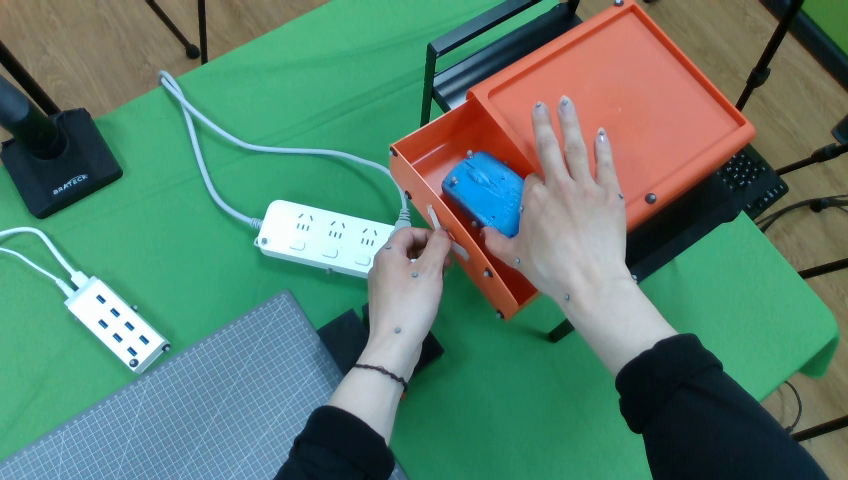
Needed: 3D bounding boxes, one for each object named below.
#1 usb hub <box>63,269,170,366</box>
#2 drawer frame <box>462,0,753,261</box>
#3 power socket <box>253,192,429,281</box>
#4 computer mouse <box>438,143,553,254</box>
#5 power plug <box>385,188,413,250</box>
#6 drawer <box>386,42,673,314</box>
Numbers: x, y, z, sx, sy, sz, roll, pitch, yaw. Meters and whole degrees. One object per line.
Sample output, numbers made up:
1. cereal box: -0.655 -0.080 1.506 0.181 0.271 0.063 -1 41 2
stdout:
1. usb hub: -0.369 0.092 0.728 0.124 0.025 0.049 39 74 9
2. drawer frame: 0.177 -0.119 0.618 0.213 0.083 0.200 -34 76 -15
3. power socket: -0.104 -0.004 0.775 0.227 0.033 0.072 13 71 1
4. computer mouse: 0.069 -0.044 0.591 0.063 0.041 0.116 -39 72 -8
5. power plug: -0.024 -0.021 0.766 0.035 0.053 0.072 24 69 5
6. drawer: 0.102 -0.067 0.594 0.212 0.073 0.193 -35 77 -13
